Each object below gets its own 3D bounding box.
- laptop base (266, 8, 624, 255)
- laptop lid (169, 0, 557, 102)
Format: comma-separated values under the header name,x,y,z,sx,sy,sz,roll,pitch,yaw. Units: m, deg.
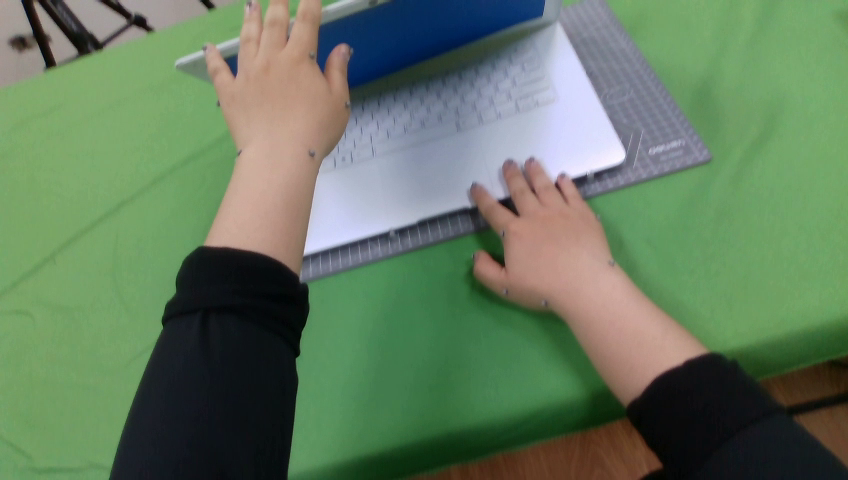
name,x,y,z,sx,sy,sz,roll,pitch,yaw
laptop base,-0.001,-0.119,0.637,0.354,0.023,0.233,-16,54,7
laptop lid,-0.034,-0.209,0.588,0.356,0.241,0.013,-17,92,8
